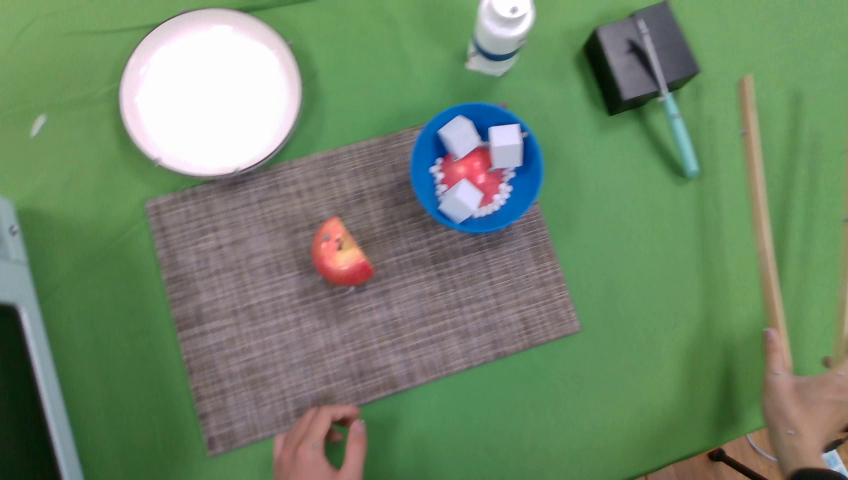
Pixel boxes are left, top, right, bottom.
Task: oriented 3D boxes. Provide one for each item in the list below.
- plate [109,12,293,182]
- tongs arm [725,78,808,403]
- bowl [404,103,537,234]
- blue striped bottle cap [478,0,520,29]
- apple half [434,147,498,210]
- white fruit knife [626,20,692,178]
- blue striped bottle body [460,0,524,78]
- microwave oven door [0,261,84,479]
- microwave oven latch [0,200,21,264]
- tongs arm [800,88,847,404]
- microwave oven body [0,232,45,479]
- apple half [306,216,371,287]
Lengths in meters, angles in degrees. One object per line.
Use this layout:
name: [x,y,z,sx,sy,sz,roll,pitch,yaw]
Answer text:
plate: [-0.260,-0.167,0.722,0.208,0.039,0.207,1,81,-5]
tongs arm: [0.390,-0.009,0.705,0.028,0.028,0.385,-1,77,-6]
bowl: [0.050,-0.074,0.707,0.151,0.077,0.151,1,81,-4]
blue striped bottle cap: [0.083,-0.257,0.669,0.044,0.020,0.044,1,83,-5]
apple half: [0.052,-0.075,0.703,0.081,0.033,0.081,0,79,-2]
white fruit knife: [0.285,-0.170,0.740,0.016,0.027,0.208,-24,100,10]
blue striped bottle body: [0.080,-0.247,0.719,0.063,0.121,0.063,1,80,-4]
microwave oven door: [-0.391,0.178,0.535,0.039,0.244,0.354,-19,83,-7]
microwave oven latch: [-0.469,-0.008,0.661,0.030,0.029,0.079,-19,83,-8]
tongs arm: [0.466,-0.002,0.704,0.051,0.026,0.383,9,77,0]
microwave oven body: [-0.544,0.187,0.526,0.326,0.260,0.440,-19,83,-8]
apple half: [-0.102,0.021,0.683,0.053,0.074,0.081,-37,89,-4]
